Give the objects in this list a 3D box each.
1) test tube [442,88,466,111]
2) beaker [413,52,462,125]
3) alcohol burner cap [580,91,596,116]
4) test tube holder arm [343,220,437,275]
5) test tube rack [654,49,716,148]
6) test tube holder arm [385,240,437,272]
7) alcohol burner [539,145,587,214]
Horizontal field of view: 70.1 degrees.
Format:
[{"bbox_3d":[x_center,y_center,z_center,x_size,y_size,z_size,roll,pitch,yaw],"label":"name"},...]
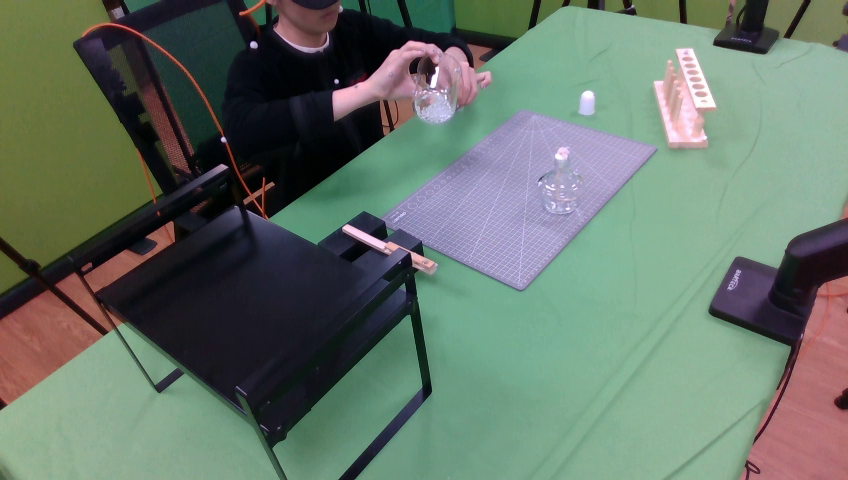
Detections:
[{"bbox_3d":[0.057,-0.256,1.109,0.017,0.017,0.151,5,4,15],"label":"test tube"},{"bbox_3d":[0.022,-0.241,0.981,0.074,0.084,0.100,-4,51,16],"label":"beaker"},{"bbox_3d":[0.338,-0.283,1.238,0.034,0.048,0.033,-5,42,5],"label":"alcohol burner cap"},{"bbox_3d":[-0.054,0.009,0.899,0.177,0.013,0.015,26,58,30],"label":"test tube holder arm"},{"bbox_3d":[0.502,-0.281,1.176,0.066,0.085,0.241,1,41,11],"label":"test tube rack"},{"bbox_3d":[-0.020,0.022,0.872,0.087,0.010,0.015,26,58,31],"label":"test tube holder arm"},{"bbox_3d":[0.226,-0.102,0.986,0.078,0.119,0.077,-6,41,6],"label":"alcohol burner"}]
